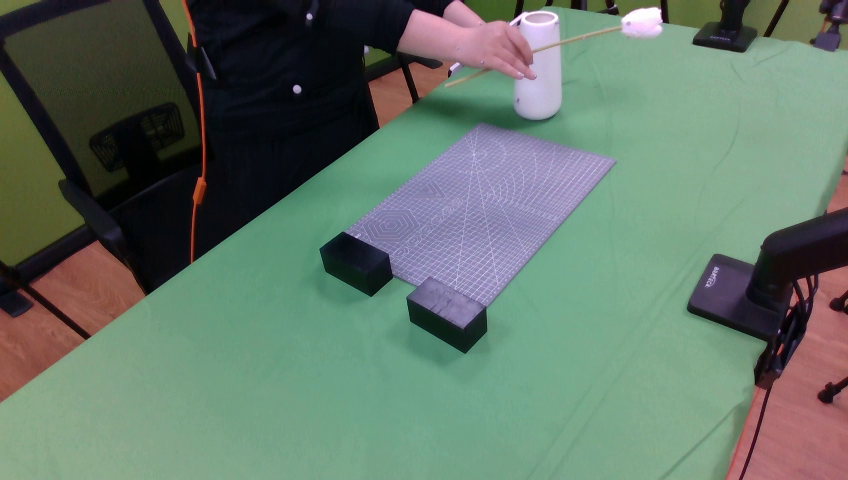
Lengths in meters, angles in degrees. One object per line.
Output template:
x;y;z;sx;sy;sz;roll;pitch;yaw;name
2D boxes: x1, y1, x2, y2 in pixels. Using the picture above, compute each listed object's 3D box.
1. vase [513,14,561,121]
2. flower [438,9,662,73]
0.225;-0.336;1.197;0.098;0.201;0.097;-5;42;5;vase
0.192;-0.310;0.976;0.360;0.044;0.038;-7;1;19;flower
